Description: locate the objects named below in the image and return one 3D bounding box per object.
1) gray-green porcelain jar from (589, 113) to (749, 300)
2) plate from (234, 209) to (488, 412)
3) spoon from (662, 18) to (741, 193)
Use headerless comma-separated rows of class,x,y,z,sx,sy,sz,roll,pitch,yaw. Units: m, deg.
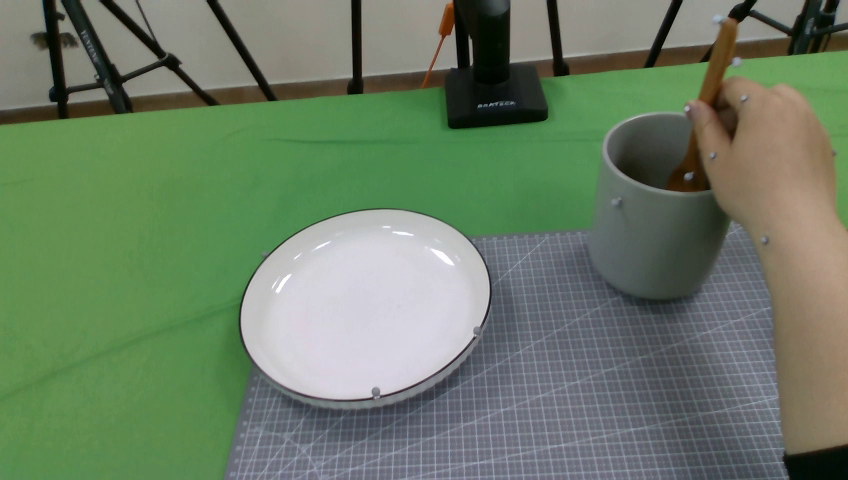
gray-green porcelain jar,0.191,-0.022,0.495,0.106,0.128,0.105,-4,45,4
plate,-0.050,0.056,0.509,0.207,0.039,0.205,-3,44,3
spoon,0.206,-0.078,0.453,0.021,0.196,0.041,-30,55,-8
